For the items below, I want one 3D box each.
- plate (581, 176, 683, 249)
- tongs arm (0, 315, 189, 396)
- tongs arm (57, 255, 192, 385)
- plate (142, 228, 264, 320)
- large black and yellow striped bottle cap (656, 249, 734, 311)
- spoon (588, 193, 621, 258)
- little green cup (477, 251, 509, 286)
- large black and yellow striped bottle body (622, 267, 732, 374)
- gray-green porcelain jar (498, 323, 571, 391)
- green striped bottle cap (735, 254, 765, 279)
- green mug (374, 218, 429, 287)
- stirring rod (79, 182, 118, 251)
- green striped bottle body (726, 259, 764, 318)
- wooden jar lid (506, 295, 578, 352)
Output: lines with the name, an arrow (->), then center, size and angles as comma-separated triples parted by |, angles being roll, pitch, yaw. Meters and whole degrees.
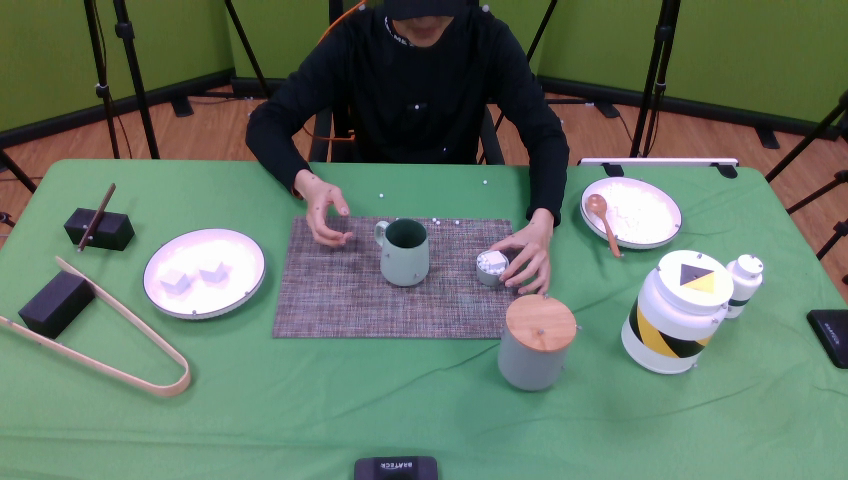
plate -> 0.430, -0.054, 1.267 | 0.209, 0.038, 0.208 | 2, 46, -2
tongs arm -> -0.555, 0.171, 0.981 | 0.384, 0.026, 0.050 | 21, 43, 14
tongs arm -> -0.516, 0.126, 1.033 | 0.386, 0.028, 0.028 | 30, 43, 23
plate -> -0.394, 0.064, 1.095 | 0.208, 0.039, 0.206 | 2, 46, -2
large black and yellow striped bottle cap -> 0.419, 0.061, 0.938 | 0.115, 0.019, 0.114 | 2, 47, -2
spoon -> 0.367, -0.032, 1.220 | 0.041, 0.022, 0.192 | 1, 38, -1
little green cup -> 0.128, 0.055, 1.135 | 0.061, 0.039, 0.061 | 1, 47, -1
large black and yellow striped bottle body -> 0.415, 0.119, 0.997 | 0.131, 0.185, 0.130 | 2, 46, -2
gray-green porcelain jar -> 0.176, 0.172, 0.971 | 0.106, 0.127, 0.105 | 2, 46, -2
green striped bottle cap -> 0.566, 0.046, 1.051 | 0.044, 0.020, 0.044 | 0, 45, 0
green mug -> -0.047, 0.015, 1.116 | 0.124, 0.105, 0.092 | 36, 54, 27
stirring rod -> -0.605, -0.047, 1.130 | 0.006, 0.014, 0.175 | 0, 47, 0
green striped bottle body -> 0.563, 0.081, 1.089 | 0.063, 0.120, 0.063 | 2, 46, -2
wooden jar lid -> 0.179, 0.130, 0.925 | 0.108, 0.021, 0.107 | 2, 43, -2
